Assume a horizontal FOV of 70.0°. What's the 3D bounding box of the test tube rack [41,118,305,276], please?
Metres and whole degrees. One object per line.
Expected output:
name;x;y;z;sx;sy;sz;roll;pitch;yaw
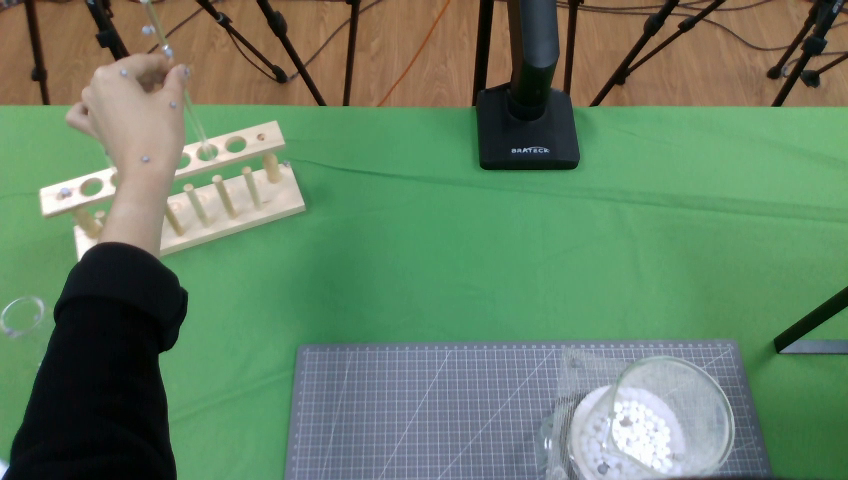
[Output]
test tube rack;-0.260;-0.047;0.652;0.243;0.086;0.066;-19;63;-11

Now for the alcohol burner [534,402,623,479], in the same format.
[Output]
alcohol burner;0.136;0.173;0.520;0.078;0.120;0.077;1;60;-2

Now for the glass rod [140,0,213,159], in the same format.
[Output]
glass rod;-0.214;-0.133;0.535;0.008;0.201;0.008;2;61;-3

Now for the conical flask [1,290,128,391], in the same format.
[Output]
conical flask;-0.333;0.087;0.556;0.075;0.123;0.074;0;61;0

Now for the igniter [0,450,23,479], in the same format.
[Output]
igniter;-0.421;0.282;0.449;0.057;0.025;0.275;24;62;22

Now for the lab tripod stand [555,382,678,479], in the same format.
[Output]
lab tripod stand;0.148;0.180;0.504;0.148;0.132;0.147;1;60;-2

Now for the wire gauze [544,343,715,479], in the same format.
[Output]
wire gauze;0.154;0.144;0.449;0.121;0.011;0.124;13;60;3

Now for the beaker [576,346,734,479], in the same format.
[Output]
beaker;0.144;0.125;0.404;0.084;0.101;0.073;-21;64;-12

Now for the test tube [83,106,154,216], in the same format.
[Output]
test tube;-0.303;-0.074;0.609;0.017;0.151;0.017;1;55;-1
